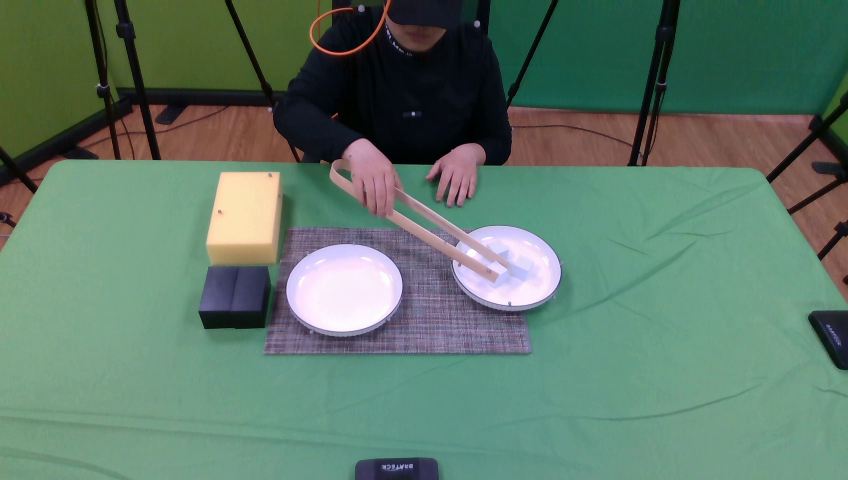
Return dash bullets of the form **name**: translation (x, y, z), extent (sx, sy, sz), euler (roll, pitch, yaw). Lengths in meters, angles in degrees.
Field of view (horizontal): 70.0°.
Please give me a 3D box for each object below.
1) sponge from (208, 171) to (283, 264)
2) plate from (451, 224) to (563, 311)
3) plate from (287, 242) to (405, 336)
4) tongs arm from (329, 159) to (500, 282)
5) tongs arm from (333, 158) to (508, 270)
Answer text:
- **sponge**: translation (-0.346, -0.048, 1.191), extent (0.118, 0.061, 0.205), euler (-2, 46, -7)
- **plate**: translation (0.154, 0.054, 1.140), extent (0.209, 0.038, 0.208), euler (2, 46, -2)
- **plate**: translation (-0.138, 0.090, 1.085), extent (0.208, 0.039, 0.206), euler (2, 46, -2)
- **tongs arm**: translation (-0.022, -0.040, 1.134), extent (0.384, 0.026, 0.050), euler (30, 43, 6)
- **tongs arm**: translation (-0.009, -0.052, 1.153), extent (0.387, 0.028, 0.028), euler (33, 47, 9)
